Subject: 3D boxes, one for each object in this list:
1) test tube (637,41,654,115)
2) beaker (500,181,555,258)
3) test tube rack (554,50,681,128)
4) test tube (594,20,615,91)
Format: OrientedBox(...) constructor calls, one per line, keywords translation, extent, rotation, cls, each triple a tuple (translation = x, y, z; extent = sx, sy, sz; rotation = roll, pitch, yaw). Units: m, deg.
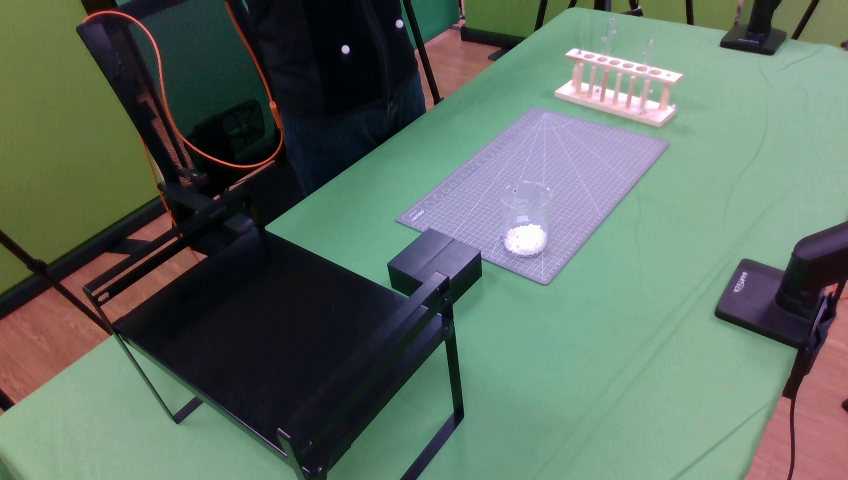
OrientedBox(translation=(0.423, -0.307, 1.154), extent=(0.017, 0.151, 0.017), rotation=(-5, 41, 5), cls="test tube")
OrientedBox(translation=(0.158, -0.030, 0.922), extent=(0.084, 0.100, 0.073), rotation=(-13, 41, -8), cls="beaker")
OrientedBox(translation=(0.387, -0.311, 1.234), extent=(0.240, 0.085, 0.067), rotation=(28, 52, 34), cls="test tube rack")
OrientedBox(translation=(0.366, -0.372, 1.233), extent=(0.017, 0.151, 0.017), rotation=(0, 43, 0), cls="test tube")
